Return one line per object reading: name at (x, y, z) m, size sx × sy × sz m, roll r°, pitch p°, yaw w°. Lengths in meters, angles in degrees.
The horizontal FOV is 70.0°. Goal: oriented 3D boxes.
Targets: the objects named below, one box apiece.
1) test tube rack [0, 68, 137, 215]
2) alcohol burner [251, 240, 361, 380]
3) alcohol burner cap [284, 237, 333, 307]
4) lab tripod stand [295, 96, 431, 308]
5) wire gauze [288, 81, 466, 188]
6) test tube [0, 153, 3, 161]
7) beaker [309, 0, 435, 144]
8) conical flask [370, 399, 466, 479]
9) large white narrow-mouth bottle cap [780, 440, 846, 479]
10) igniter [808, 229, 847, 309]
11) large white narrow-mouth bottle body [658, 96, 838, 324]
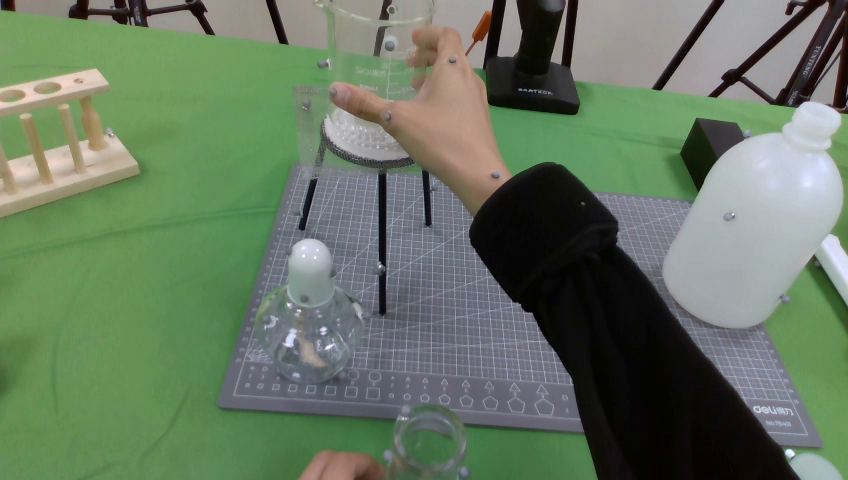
test tube rack at (-0.393, -0.071, 0.525) m, size 0.243 × 0.086 × 0.066 m, roll -26°, pitch 53°, yaw -32°
alcohol burner at (-0.082, 0.044, 0.427) m, size 0.078 × 0.120 × 0.077 m, roll 6°, pitch 41°, yaw -5°
alcohol burner cap at (-0.078, 0.019, 0.401) m, size 0.034 × 0.048 × 0.033 m, roll 3°, pitch 49°, yaw -4°
lab tripod stand at (-0.043, -0.038, 0.509) m, size 0.148 × 0.132 × 0.147 m, roll 6°, pitch 43°, yaw -5°
wire gauze at (-0.040, -0.088, 0.466) m, size 0.122 × 0.011 × 0.123 m, roll -6°, pitch 48°, yaw -13°
test tube at (-0.385, -0.124, 0.511) m, size 0.017 × 0.151 × 0.017 m, roll 6°, pitch 38°, yaw -4°
beaker at (-0.039, -0.127, 0.435) m, size 0.084 × 0.101 × 0.073 m, roll 0°, pitch 45°, yaw -9°
conical flask at (-0.003, 0.137, 0.337) m, size 0.075 × 0.123 × 0.074 m, roll 4°, pitch 43°, yaw -4°
large white narrow-mouth bottle cap at (0.275, 0.164, 0.430) m, size 0.038 × 0.024 × 0.037 m, roll 4°, pitch 42°, yaw -4°
igniter at (0.403, 0.085, 0.532) m, size 0.057 × 0.025 × 0.274 m, roll 14°, pitch 41°, yaw -10°
large white narrow-mouth bottle body at (0.274, -0.026, 0.502) m, size 0.102 × 0.196 × 0.101 m, roll 4°, pitch 42°, yaw -3°
